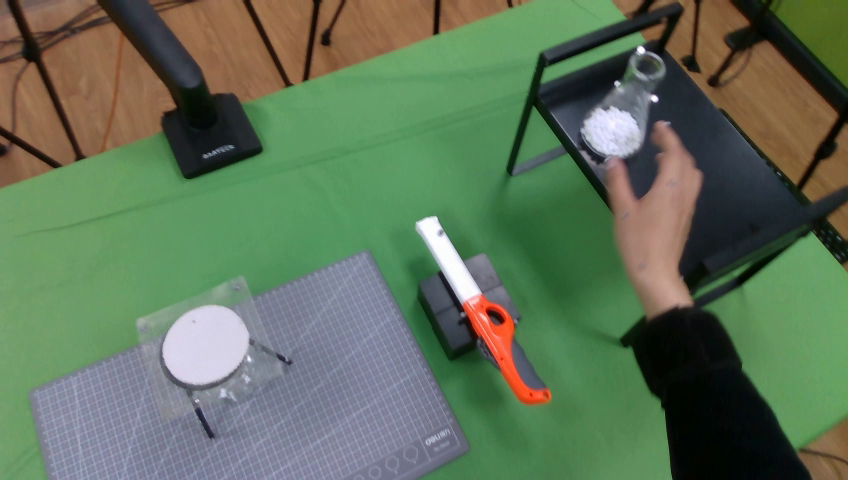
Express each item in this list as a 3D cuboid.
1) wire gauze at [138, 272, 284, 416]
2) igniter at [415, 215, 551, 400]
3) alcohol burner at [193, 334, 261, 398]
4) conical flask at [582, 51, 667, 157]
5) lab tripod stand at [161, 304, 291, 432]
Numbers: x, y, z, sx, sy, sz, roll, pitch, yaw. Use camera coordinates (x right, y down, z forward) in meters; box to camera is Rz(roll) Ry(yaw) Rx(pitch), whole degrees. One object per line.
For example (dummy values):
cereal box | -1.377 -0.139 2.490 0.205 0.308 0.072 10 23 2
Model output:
wire gauze | -0.226 0.106 0.636 0.125 0.011 0.120 -21 67 -13
igniter | 0.068 0.080 0.755 0.057 0.025 0.274 -23 65 -19
alcohol burner | -0.233 0.142 0.704 0.078 0.120 0.077 1 65 -2
conical flask | 0.231 -0.155 0.681 0.075 0.122 0.074 2 63 -3
lab tripod stand | -0.238 0.136 0.696 0.148 0.132 0.147 1 64 -1
